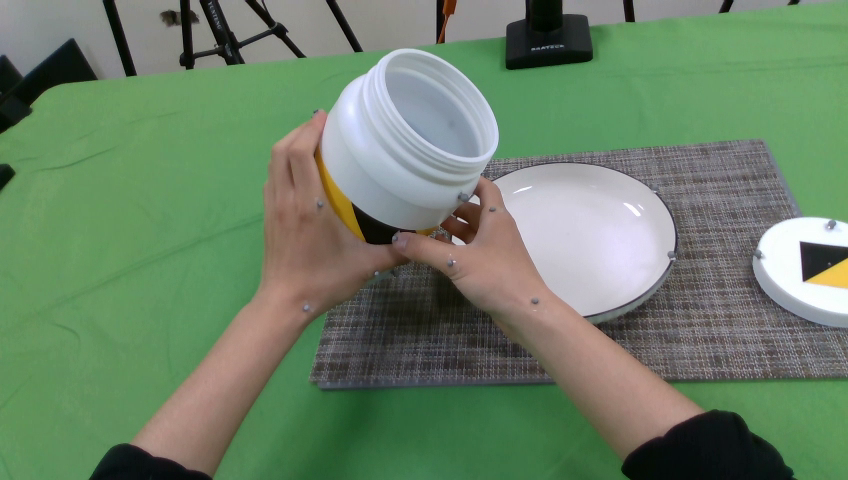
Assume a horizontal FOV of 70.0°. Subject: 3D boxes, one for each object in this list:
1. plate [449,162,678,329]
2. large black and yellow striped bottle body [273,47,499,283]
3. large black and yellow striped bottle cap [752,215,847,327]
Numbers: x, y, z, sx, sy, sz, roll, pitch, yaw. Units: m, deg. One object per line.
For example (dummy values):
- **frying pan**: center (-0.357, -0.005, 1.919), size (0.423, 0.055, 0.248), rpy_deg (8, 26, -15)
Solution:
- **plate**: center (0.129, 0.004, 0.576), size (0.207, 0.039, 0.205), rpy_deg (-7, 45, 7)
- **large black and yellow striped bottle body**: center (-0.034, -0.058, 0.511), size (0.132, 0.184, 0.129), rpy_deg (21, 49, -26)
- **large black and yellow striped bottle cap**: center (0.346, 0.023, 0.520), size (0.115, 0.019, 0.114), rpy_deg (-4, 47, 4)
